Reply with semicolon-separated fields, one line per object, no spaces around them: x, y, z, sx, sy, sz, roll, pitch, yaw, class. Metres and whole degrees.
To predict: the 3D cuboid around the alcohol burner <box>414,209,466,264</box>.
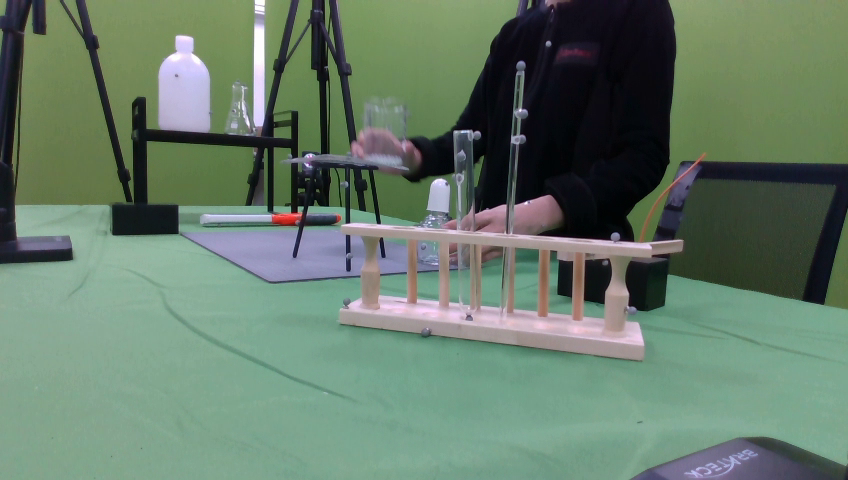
0.021;-0.028;0.825;0.078;0.119;0.078;0;6;0;alcohol burner

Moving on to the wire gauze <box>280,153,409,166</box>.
-0.104;-0.105;0.784;0.126;0.011;0.121;-2;7;-38;wire gauze

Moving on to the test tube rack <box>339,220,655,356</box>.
0.056;0.032;0.495;0.242;0.085;0.067;4;7;15;test tube rack

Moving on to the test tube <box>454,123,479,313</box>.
0.034;-0.016;0.477;0.017;0.150;0.017;-2;9;1;test tube

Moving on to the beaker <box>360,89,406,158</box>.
-0.066;-0.185;0.969;0.074;0.100;0.084;1;0;-3;beaker

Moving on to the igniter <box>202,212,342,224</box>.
-0.298;-0.044;1.216;0.278;0.025;0.057;-2;-2;-33;igniter

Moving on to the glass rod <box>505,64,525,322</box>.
0.069;-0.029;0.457;0.008;0.199;0.008;0;15;0;glass rod

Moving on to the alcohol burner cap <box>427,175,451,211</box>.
0.023;-0.064;0.822;0.034;0.048;0.034;7;4;0;alcohol burner cap

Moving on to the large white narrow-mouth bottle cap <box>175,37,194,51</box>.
-0.501;-0.409;1.264;0.038;0.024;0.037;2;7;0;large white narrow-mouth bottle cap

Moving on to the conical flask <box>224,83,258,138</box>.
-0.422;-0.299;1.395;0.075;0.122;0.075;2;7;0;conical flask

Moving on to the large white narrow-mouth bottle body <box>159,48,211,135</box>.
-0.503;-0.322;1.275;0.102;0.194;0.102;2;7;0;large white narrow-mouth bottle body

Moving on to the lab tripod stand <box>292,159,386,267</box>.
-0.105;-0.039;0.797;0.148;0.131;0.148;2;5;0;lab tripod stand

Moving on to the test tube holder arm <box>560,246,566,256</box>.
0.173;0.007;0.611;0.088;0.015;0.010;-3;10;-30;test tube holder arm

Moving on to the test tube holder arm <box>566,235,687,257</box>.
0.215;0.006;0.630;0.179;0.015;0.013;-3;10;-30;test tube holder arm
